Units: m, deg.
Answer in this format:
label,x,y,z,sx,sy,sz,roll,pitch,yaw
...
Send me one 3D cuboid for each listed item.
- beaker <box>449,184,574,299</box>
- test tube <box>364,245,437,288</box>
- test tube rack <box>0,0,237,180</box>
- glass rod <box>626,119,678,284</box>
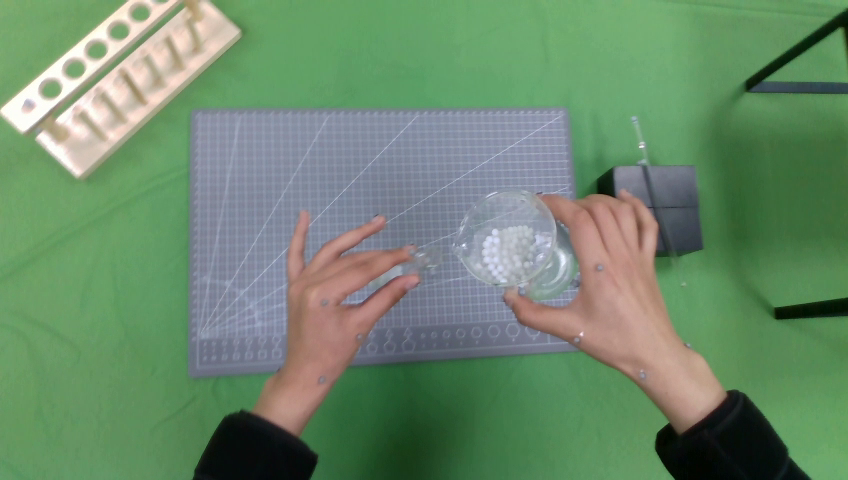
label,x,y,z,sx,sy,sz,roll,pitch,yaw
beaker,0.075,0.007,0.482,0.084,0.101,0.073,-10,73,22
test tube,-0.025,0.025,0.527,0.017,0.150,0.017,5,76,-22
test tube rack,-0.321,-0.183,0.654,0.066,0.085,0.242,42,77,2
glass rod,0.263,-0.046,0.699,0.008,0.008,0.199,-12,82,-9
